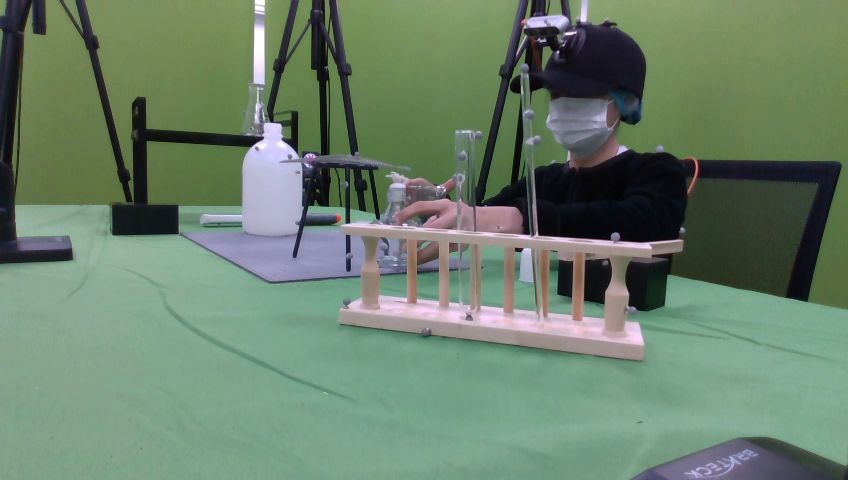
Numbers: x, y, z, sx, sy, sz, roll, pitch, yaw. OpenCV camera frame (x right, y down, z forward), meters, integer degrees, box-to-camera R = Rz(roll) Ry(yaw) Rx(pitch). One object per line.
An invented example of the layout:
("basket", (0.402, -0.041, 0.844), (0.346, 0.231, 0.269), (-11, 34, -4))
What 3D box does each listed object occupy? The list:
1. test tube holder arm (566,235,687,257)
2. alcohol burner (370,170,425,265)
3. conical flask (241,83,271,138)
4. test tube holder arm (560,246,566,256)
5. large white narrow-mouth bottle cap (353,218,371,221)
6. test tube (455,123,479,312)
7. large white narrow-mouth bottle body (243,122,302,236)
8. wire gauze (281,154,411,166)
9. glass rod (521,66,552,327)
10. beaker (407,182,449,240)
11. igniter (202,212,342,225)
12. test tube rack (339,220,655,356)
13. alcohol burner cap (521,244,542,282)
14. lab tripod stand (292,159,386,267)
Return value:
("test tube holder arm", (0.215, 0.006, 0.629), (0.179, 0.015, 0.013), (-3, 9, -30))
("alcohol burner", (-0.035, -0.029, 0.766), (0.078, 0.119, 0.078), (0, 7, 0))
("conical flask", (-0.384, -0.297, 1.393), (0.075, 0.122, 0.075), (2, 7, 0))
("test tube holder arm", (0.173, 0.007, 0.611), (0.088, 0.015, 0.010), (-3, 9, -30))
("large white narrow-mouth bottle cap", (-0.121, -0.029, 1.184), (0.038, 0.024, 0.037), (2, 8, 0))
("test tube", (0.034, -0.016, 0.476), (0.017, 0.150, 0.017), (-2, 10, 1))
("large white narrow-mouth bottle body", (-0.264, -0.109, 1.061), (0.102, 0.194, 0.102), (2, 8, 0))
("wire gauze", (-0.102, -0.105, 0.785), (0.121, 0.011, 0.126), (7, 8, 43))
("glass rod", (0.085, -0.028, 0.454), (0.008, 0.199, 0.008), (-7, 10, 2))
("beaker", (0.008, -0.053, 1.102), (0.074, 0.100, 0.083), (-6, 12, -44))
("igniter", (-0.298, -0.043, 1.216), (0.278, 0.025, 0.057), (-3, -2, -32))
("test tube rack", (0.056, 0.032, 0.495), (0.242, 0.085, 0.067), (4, 7, 15))
("alcohol burner cap", (0.136, 0.026, 0.740), (0.034, 0.048, 0.034), (1, 5, 0))
("lab tripod stand", (-0.105, -0.039, 0.797), (0.148, 0.131, 0.148), (2, 5, 0))
